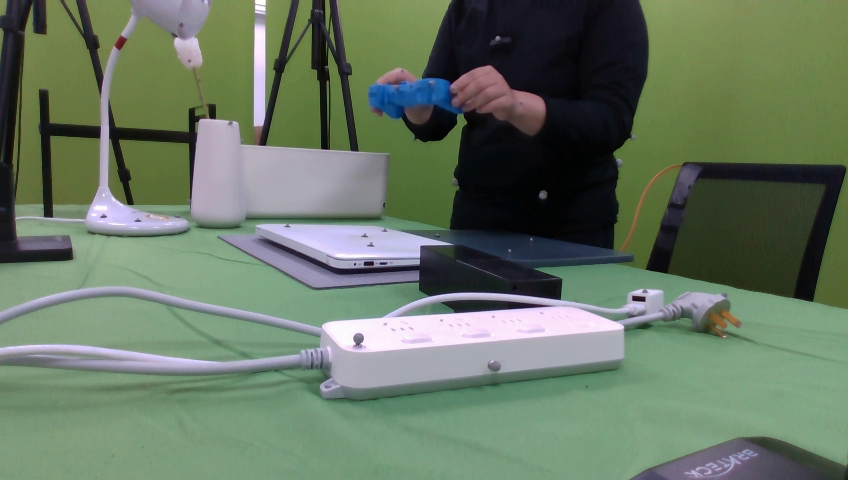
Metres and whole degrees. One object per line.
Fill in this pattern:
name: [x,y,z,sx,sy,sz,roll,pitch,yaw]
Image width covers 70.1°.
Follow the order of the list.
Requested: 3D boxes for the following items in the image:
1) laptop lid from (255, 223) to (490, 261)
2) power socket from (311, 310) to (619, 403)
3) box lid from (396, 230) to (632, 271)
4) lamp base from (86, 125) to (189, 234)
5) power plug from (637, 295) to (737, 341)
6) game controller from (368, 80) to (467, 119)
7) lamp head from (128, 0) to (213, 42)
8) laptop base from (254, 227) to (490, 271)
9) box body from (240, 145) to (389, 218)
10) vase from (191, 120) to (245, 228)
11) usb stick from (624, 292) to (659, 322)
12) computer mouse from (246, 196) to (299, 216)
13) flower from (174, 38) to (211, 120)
laptop lid: [-0.093,0.000,0.911,0.243,0.013,0.355,1,7,-30]
power socket: [0.034,0.074,0.415,0.228,0.032,0.072,-1,7,-24]
box lid: [0.140,0.012,1.045,0.265,0.015,0.369,-1,8,-32]
lamp base: [-0.497,-0.105,1.027,0.179,0.180,0.160,1,7,2]
power plug: [0.235,0.077,0.535,0.072,0.035,0.052,-33,40,-5]
game controller: [-0.016,-0.227,0.963,0.154,0.051,0.097,4,2,35]
lamp head: [-0.423,-0.394,0.980,0.123,0.112,0.112,20,7,-3]
laptop base: [-0.096,0.011,0.910,0.237,0.023,0.352,2,7,-32]
box body: [-0.297,-0.143,1.474,0.366,0.160,0.253,-1,9,-30]
vase: [-0.389,-0.124,1.142,0.098,0.200,0.098,3,9,0]
usb stick: [0.211,0.064,0.580,0.021,0.027,0.059,-2,-4,36]
computer mouse: [-0.346,-0.078,1.381,0.118,0.041,0.062,-10,16,-28]
flower: [-0.401,-0.207,1.141,0.038,0.361,0.044,-14,3,44]
